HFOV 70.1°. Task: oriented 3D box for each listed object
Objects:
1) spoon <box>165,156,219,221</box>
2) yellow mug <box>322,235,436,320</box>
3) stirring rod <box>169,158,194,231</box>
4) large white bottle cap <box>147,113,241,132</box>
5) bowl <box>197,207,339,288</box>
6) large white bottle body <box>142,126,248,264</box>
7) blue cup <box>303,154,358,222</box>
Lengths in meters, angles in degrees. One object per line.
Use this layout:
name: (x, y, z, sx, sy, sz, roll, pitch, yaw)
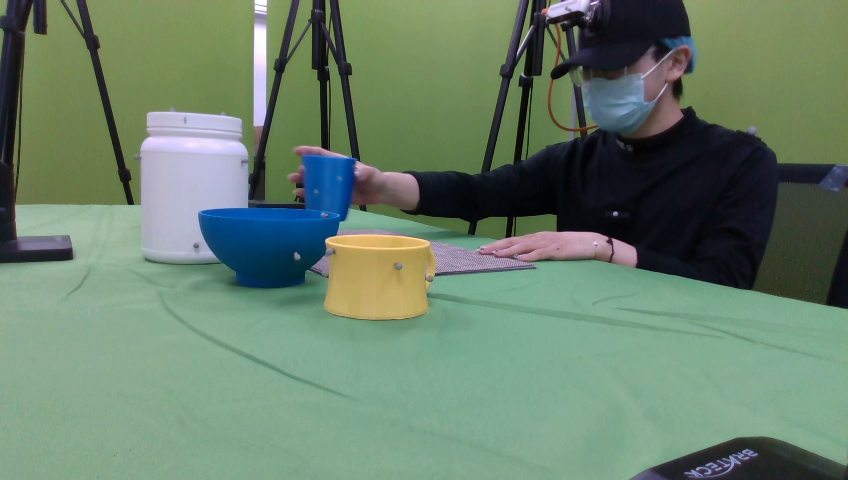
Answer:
spoon: (-0.451, -0.104, 1.193, 0.041, 0.022, 0.193, 5, 51, 17)
yellow mug: (-0.034, 0.031, 0.581, 0.099, 0.064, 0.131, 8, 8, 42)
stirring rod: (-0.424, -0.082, 1.060, 0.014, 0.006, 0.175, 2, 50, -10)
large white bottle cap: (-0.297, -0.151, 0.786, 0.115, 0.018, 0.115, 2, 7, 0)
bowl: (-0.171, 0.008, 0.671, 0.151, 0.077, 0.151, 2, 7, 0)
large white bottle body: (-0.300, -0.068, 0.797, 0.131, 0.184, 0.130, 2, 7, 0)
blue cup: (-0.149, -0.082, 0.950, 0.093, 0.100, 0.092, 4, 9, 0)
